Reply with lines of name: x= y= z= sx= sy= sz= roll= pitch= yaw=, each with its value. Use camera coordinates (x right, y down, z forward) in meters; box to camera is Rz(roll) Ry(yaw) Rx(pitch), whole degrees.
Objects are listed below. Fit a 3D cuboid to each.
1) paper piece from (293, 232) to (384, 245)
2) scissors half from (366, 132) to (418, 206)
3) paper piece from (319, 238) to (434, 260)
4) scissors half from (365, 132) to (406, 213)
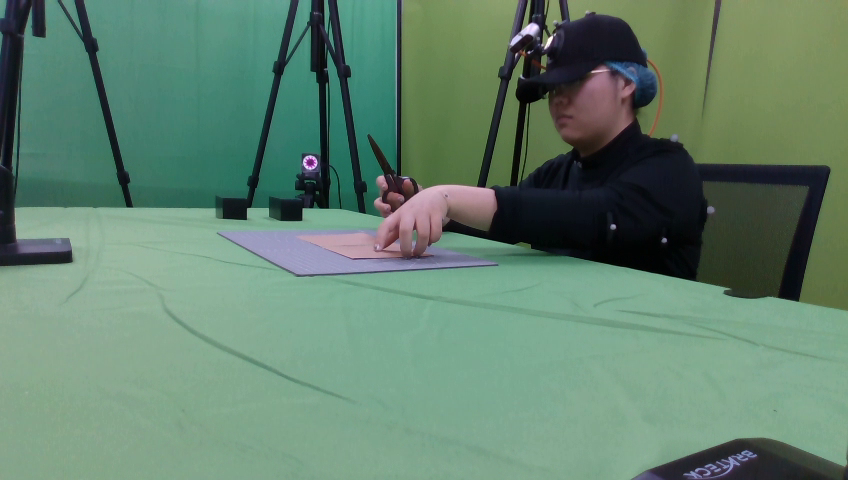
paper piece: x=-0.142 y=-0.003 z=1.047 sx=0.136 sy=0.004 sz=0.134 roll=-2 pitch=9 yaw=-30
scissors half: x=-0.058 y=-0.130 z=1.102 sx=0.040 sy=0.176 sz=0.013 roll=-42 pitch=37 yaw=-6
paper piece: x=-0.076 y=0.015 z=0.934 sx=0.137 sy=0.008 sz=0.137 roll=-6 pitch=12 yaw=-29
scissors half: x=-0.074 y=-0.119 z=1.099 sx=0.040 sy=0.175 sz=0.012 roll=-26 pitch=34 yaw=-10
